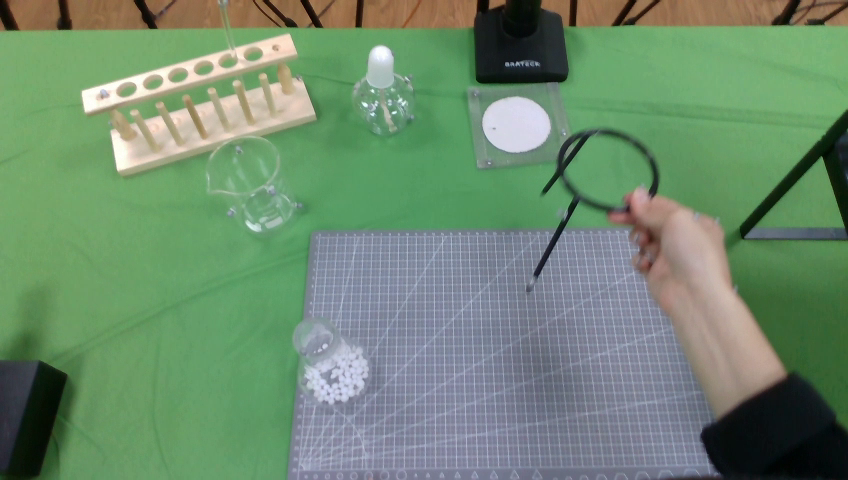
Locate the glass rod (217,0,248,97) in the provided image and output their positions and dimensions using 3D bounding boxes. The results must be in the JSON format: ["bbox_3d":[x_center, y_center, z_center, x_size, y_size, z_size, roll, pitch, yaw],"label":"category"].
[{"bbox_3d":[-0.217,-0.229,0.679,0.008,0.201,0.008,2,62,-4],"label":"glass rod"}]

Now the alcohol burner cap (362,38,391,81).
[{"bbox_3d":[-0.052,-0.207,0.686,0.034,0.048,0.033,4,63,-7],"label":"alcohol burner cap"}]

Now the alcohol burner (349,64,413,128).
[{"bbox_3d":[-0.052,-0.189,0.718,0.078,0.120,0.077,0,62,0],"label":"alcohol burner"}]

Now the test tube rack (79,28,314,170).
[{"bbox_3d":[-0.264,-0.168,0.723,0.242,0.086,0.066,-19,65,-9],"label":"test tube rack"}]

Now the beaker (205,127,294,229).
[{"bbox_3d":[-0.188,-0.061,0.663,0.084,0.101,0.073,-40,69,-17],"label":"beaker"}]

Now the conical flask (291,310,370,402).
[{"bbox_3d":[-0.093,0.103,0.567,0.075,0.123,0.074,0,63,1],"label":"conical flask"}]

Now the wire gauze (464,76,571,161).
[{"bbox_3d":[0.116,-0.156,0.759,0.121,0.011,0.124,-4,64,-3],"label":"wire gauze"}]

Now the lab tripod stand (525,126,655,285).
[{"bbox_3d":[0.157,-0.033,0.580,0.148,0.132,0.147,2,58,-4],"label":"lab tripod stand"}]
